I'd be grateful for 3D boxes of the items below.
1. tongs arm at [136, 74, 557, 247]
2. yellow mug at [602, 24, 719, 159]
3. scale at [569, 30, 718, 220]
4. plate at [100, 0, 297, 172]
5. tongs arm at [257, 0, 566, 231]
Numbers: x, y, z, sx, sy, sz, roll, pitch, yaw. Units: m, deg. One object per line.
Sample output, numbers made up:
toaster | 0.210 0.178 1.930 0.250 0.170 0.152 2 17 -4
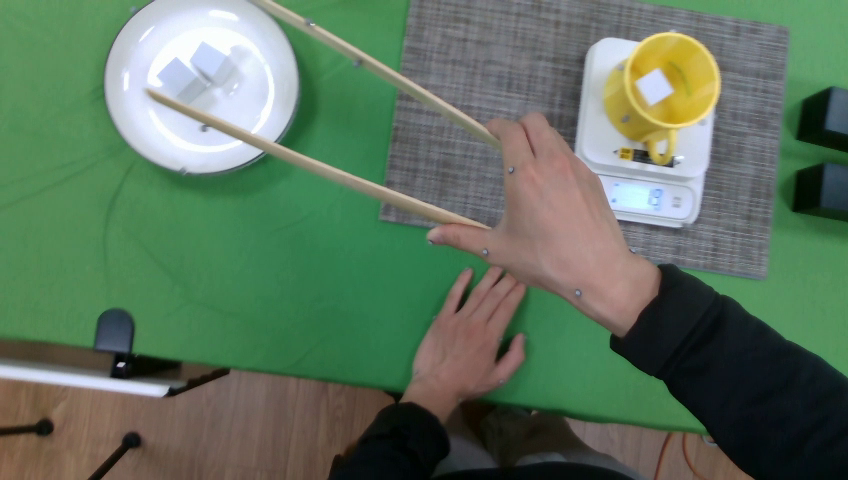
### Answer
tongs arm | -0.080 -0.070 0.488 0.385 0.028 0.028 23 75 16
yellow mug | 0.249 -0.152 0.642 0.100 0.064 0.130 -2 88 -3
scale | 0.249 -0.130 0.687 0.149 0.031 0.200 8 87 -2
plate | -0.243 -0.175 0.668 0.208 0.039 0.207 0 87 -3
tongs arm | -0.044 -0.127 0.496 0.382 0.027 0.050 33 81 18
